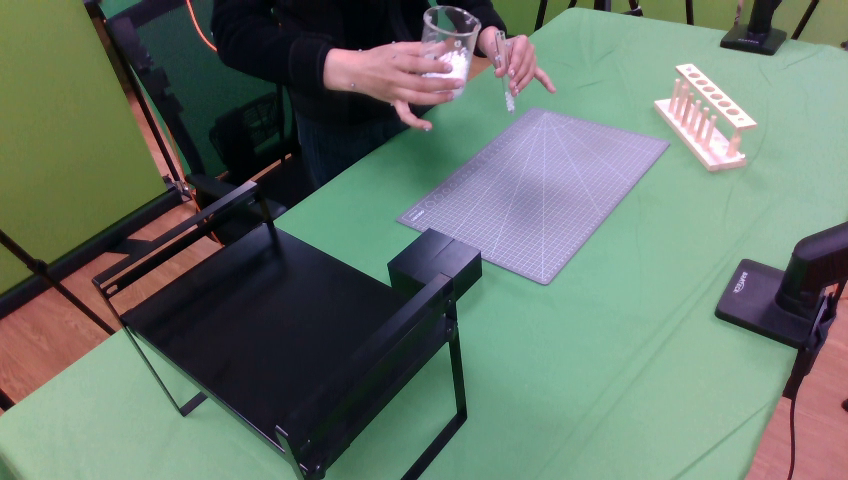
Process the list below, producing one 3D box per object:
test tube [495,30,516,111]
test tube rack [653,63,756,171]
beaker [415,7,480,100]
[{"bbox_3d":[0.134,-0.272,0.986,0.017,0.151,0.017,-9,49,10],"label":"test tube"},{"bbox_3d":[0.510,-0.233,1.120,0.067,0.085,0.241,-9,41,-1],"label":"test tube rack"},{"bbox_3d":[0.030,-0.247,0.806,0.073,0.100,0.084,38,51,22],"label":"beaker"}]
